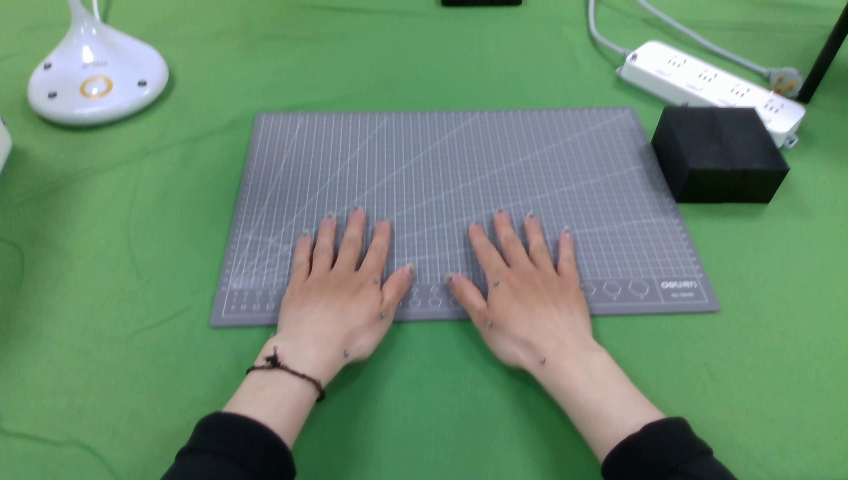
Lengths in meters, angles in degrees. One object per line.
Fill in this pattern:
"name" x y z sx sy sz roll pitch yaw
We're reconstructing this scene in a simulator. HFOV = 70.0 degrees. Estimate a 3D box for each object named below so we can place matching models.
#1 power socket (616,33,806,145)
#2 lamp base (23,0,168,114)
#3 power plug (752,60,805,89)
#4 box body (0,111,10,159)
"power socket" 0.342 -0.186 0.728 0.072 0.033 0.224 -37 59 -28
"lamp base" -0.397 -0.262 0.676 0.161 0.182 0.177 -21 51 -18
"power plug" 0.437 -0.205 0.758 0.053 0.035 0.072 -27 22 -28
"box body" -0.544 -0.033 0.493 0.254 0.162 0.360 -5 50 -6
